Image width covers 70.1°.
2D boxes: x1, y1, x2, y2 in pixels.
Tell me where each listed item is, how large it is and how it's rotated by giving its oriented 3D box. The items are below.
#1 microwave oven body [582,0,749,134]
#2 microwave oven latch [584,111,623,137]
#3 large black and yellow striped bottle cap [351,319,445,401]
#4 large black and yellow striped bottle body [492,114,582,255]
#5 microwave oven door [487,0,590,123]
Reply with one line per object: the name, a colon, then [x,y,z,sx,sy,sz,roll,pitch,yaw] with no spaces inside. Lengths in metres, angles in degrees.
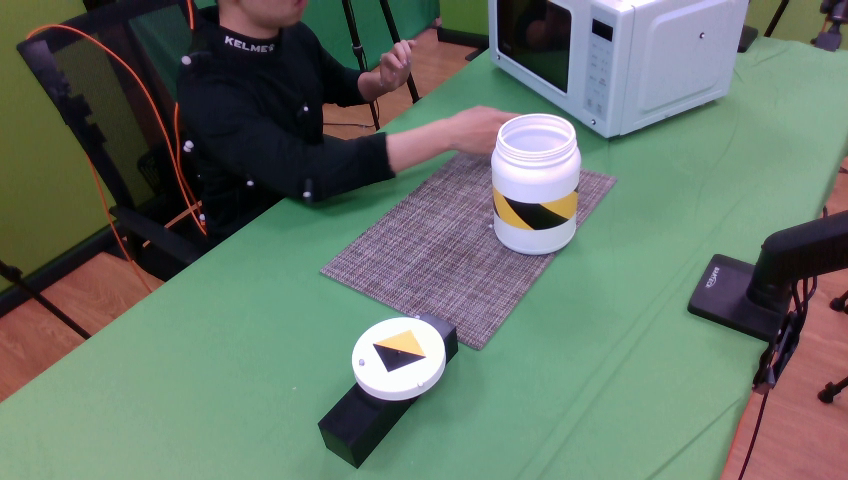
microwave oven body: [0.382,-0.444,1.246,0.327,0.261,0.437,-22,42,-16]
microwave oven latch: [0.337,-0.222,1.142,0.030,0.029,0.078,-21,42,-14]
large black and yellow striped bottle cap: [-0.032,0.143,0.734,0.115,0.019,0.114,-3,40,3]
large black and yellow striped bottle body: [0.169,-0.083,0.912,0.131,0.185,0.130,-4,41,4]
microwave oven door: [0.232,-0.420,1.230,0.039,0.245,0.352,-22,43,-16]
